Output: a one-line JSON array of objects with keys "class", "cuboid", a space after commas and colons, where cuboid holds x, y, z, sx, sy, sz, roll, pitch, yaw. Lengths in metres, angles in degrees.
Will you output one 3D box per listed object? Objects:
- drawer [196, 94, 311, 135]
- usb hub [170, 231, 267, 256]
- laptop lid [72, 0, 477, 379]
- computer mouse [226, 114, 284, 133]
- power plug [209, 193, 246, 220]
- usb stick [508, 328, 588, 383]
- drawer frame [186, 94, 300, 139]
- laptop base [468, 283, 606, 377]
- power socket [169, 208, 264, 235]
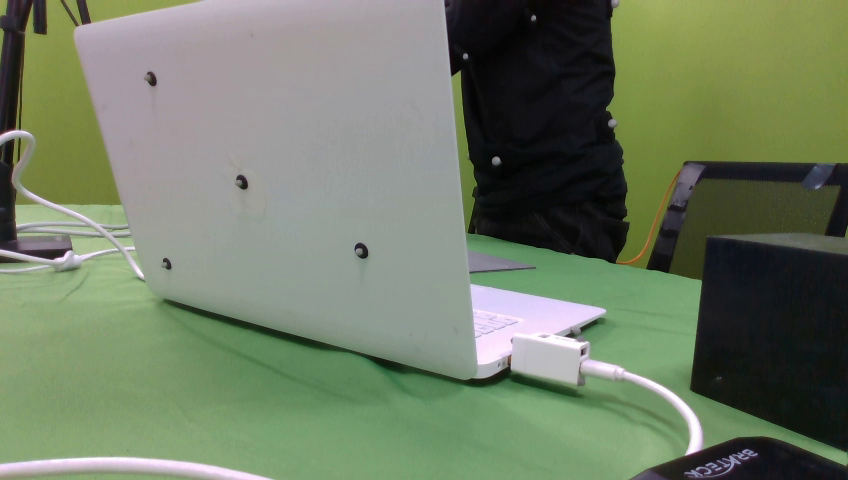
[{"class": "drawer", "cuboid": [-0.374, -0.267, 1.315, 0.195, 0.073, 0.210, -3, 9, -32]}, {"class": "usb hub", "cuboid": [-0.290, 0.005, 0.862, 0.049, 0.025, 0.126, 10, 11, 42]}, {"class": "laptop lid", "cuboid": [-0.125, -0.042, 0.417, 0.355, 0.241, 0.013, 9, 25, 34]}, {"class": "computer mouse", "cuboid": [-0.361, -0.249, 1.292, 0.118, 0.041, 0.062, -8, 15, -33]}, {"class": "power plug", "cuboid": [-0.388, -0.067, 1.205, 0.072, 0.052, 0.035, 4, 8, 27]}, {"class": "usb stick", "cuboid": [0.072, 0.072, 0.383, 0.059, 0.027, 0.021, 2, 2, 34]}, {"class": "drawer frame", "cuboid": [-0.415, -0.277, 1.373, 0.203, 0.082, 0.212, -3, 8, -32]}, {"class": "laptop base", "cuboid": [-0.042, 0.057, 0.553, 0.352, 0.023, 0.237, 8, 6, 35]}, {"class": "power socket", "cuboid": [-0.381, -0.038, 1.128, 0.072, 0.032, 0.227, 4, 8, 16]}]
